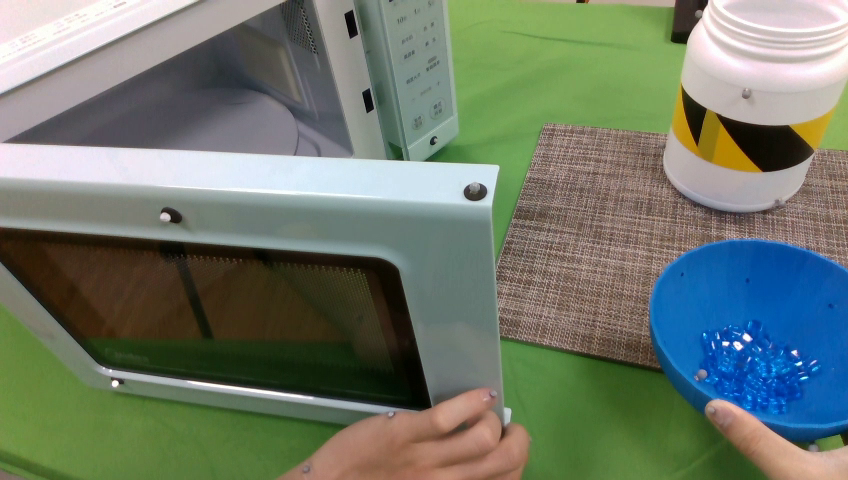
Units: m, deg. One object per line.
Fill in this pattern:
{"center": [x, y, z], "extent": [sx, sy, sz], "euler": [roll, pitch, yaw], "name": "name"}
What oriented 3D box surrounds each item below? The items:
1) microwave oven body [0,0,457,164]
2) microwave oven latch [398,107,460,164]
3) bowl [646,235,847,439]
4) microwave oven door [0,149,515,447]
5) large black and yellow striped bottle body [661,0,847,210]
{"center": [-0.236, -0.151, 0.599], "extent": [0.441, 0.263, 0.323], "euler": [-39, 54, -24], "name": "microwave oven body"}
{"center": [0.005, -0.118, 0.663], "extent": [0.079, 0.030, 0.030], "euler": [-38, 53, -23], "name": "microwave oven latch"}
{"center": [0.227, 0.076, 0.415], "extent": [0.151, 0.077, 0.150], "euler": [-5, 46, 6], "name": "bowl"}
{"center": [-0.123, 0.044, 0.392], "extent": [0.355, 0.246, 0.039], "euler": [4, 48, 13], "name": "microwave oven door"}
{"center": [0.296, -0.133, 0.546], "extent": [0.130, 0.186, 0.129], "euler": [-5, 47, 5], "name": "large black and yellow striped bottle body"}
